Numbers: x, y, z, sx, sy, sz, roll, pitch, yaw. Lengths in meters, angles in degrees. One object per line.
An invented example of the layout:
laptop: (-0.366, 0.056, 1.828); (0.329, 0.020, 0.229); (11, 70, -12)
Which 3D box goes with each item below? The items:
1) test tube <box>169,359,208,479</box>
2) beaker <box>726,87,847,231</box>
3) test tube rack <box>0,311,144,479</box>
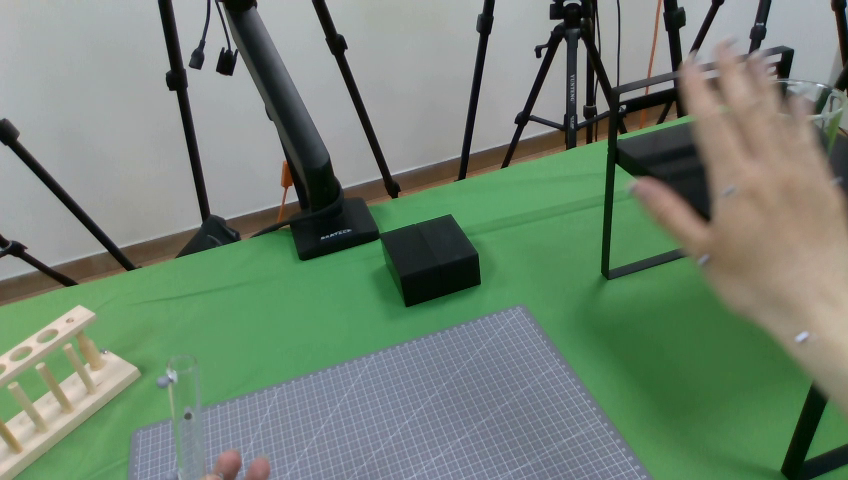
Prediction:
test tube: (-0.136, 0.133, 0.355); (0.017, 0.151, 0.017); (6, 27, -3)
beaker: (0.291, -0.066, 0.498); (0.074, 0.101, 0.083); (-20, 35, -16)
test tube rack: (-0.424, 0.185, 0.619); (0.066, 0.086, 0.242); (16, 41, 31)
